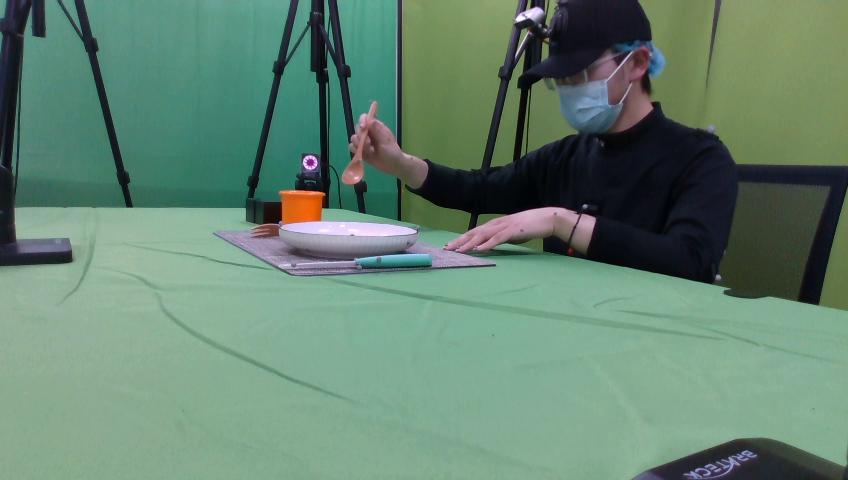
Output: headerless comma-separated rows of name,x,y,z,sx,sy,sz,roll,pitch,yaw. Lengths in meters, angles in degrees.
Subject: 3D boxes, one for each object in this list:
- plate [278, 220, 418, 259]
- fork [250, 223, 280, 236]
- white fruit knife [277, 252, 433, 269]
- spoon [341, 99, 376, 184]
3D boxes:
plate,-0.114,-0.002,0.914,0.209,0.038,0.209,2,7,0
fork,-0.194,-0.014,1.051,0.208,0.028,0.018,3,38,-14
white fruit knife,-0.082,0.029,0.772,0.208,0.016,0.027,-3,-20,-22
spoon,-0.123,-0.196,1.197,0.041,0.193,0.022,9,-15,19
